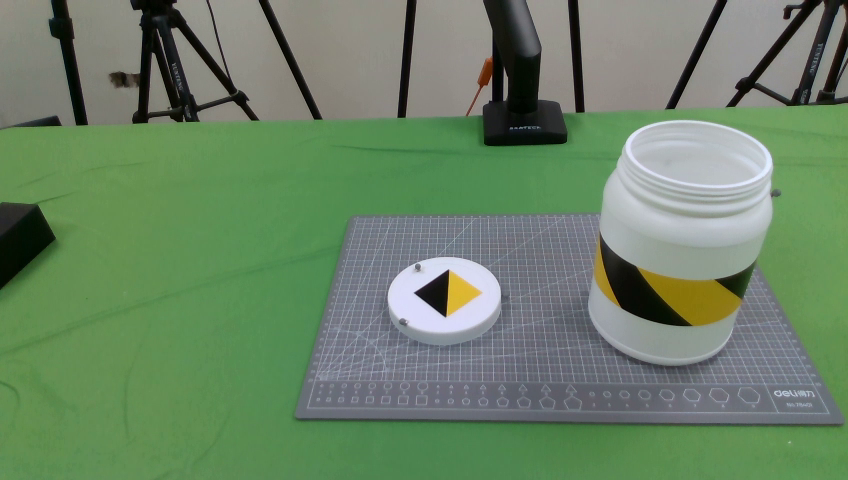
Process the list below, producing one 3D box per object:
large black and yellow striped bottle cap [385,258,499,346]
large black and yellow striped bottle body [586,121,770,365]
[{"bbox_3d":[0.018,0.059,0.611,0.115,0.019,0.114,-1,38,1],"label":"large black and yellow striped bottle cap"},{"bbox_3d":[0.216,0.003,0.527,0.131,0.185,0.129,-3,38,2],"label":"large black and yellow striped bottle body"}]
